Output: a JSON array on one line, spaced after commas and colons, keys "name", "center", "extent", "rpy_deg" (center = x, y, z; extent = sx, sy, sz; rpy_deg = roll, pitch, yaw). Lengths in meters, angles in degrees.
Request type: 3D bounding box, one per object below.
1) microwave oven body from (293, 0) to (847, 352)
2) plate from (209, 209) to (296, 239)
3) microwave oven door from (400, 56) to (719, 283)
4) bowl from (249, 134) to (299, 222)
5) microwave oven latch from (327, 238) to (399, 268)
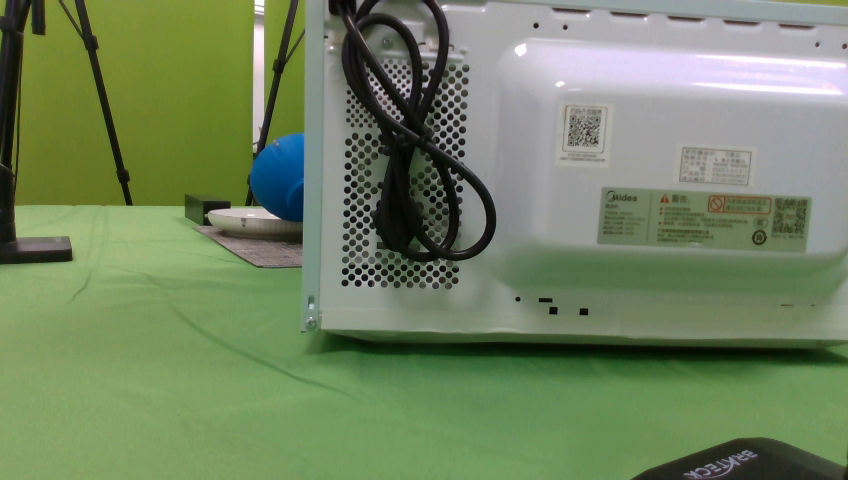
[{"name": "microwave oven body", "center": [0.122, -0.055, 0.550], "extent": [0.442, 0.260, 0.325], "rpy_deg": [3, 7, -5]}, {"name": "plate", "center": [-0.271, -0.029, 1.074], "extent": [0.208, 0.039, 0.207], "rpy_deg": [2, 7, 0]}, {"name": "microwave oven door", "center": [0.155, -0.078, 0.698], "extent": [0.356, 0.243, 0.039], "rpy_deg": [2, 8, -5]}, {"name": "bowl", "center": [-0.187, -0.081, 0.941], "extent": [0.152, 0.151, 0.076], "rpy_deg": [-2, 36, -31]}, {"name": "microwave oven latch", "center": [-0.069, 0.015, 0.694], "extent": [0.079, 0.029, 0.030], "rpy_deg": [3, 7, -3]}]
